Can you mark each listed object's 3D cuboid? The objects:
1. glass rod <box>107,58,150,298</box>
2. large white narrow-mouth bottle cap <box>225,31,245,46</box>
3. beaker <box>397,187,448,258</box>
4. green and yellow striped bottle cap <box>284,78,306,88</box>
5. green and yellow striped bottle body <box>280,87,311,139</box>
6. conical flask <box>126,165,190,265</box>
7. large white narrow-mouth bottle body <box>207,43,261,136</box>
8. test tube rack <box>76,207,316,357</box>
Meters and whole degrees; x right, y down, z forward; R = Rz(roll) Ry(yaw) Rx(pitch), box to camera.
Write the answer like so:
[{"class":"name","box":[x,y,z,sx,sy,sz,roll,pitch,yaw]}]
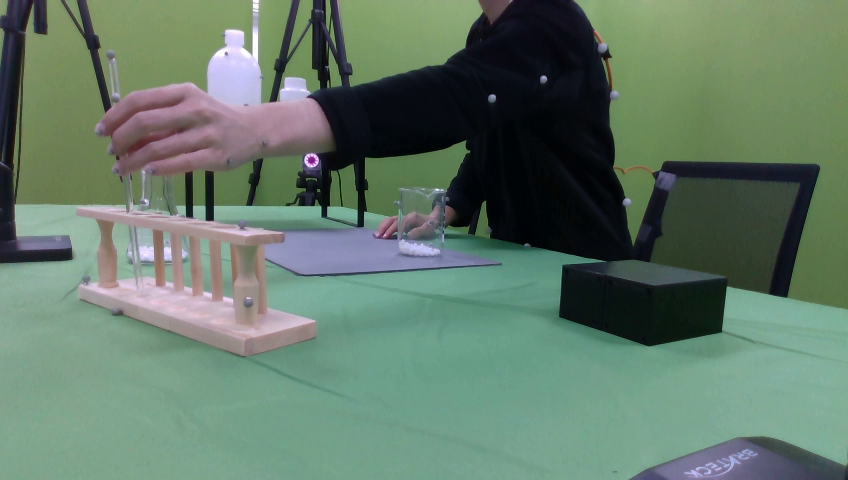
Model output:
[{"class":"glass rod","box":[-0.240,-0.045,0.494,0.008,0.199,0.008,-1,16,1]},{"class":"large white narrow-mouth bottle cap","box":[-0.365,-0.388,1.166,0.038,0.024,0.037,3,9,0]},{"class":"beaker","box":[-0.002,-0.026,0.890,0.074,0.100,0.084,1,8,-11]},{"class":"green and yellow striped bottle cap","box":[-0.268,-0.325,1.259,0.045,0.020,0.045,5,7,0]},{"class":"green and yellow striped bottle body","box":[-0.269,-0.274,1.266,0.063,0.119,0.063,3,7,0]},{"class":"conical flask","box":[-0.332,-0.033,0.756,0.075,0.122,0.075,2,8,0]},{"class":"large white narrow-mouth bottle body","box":[-0.369,-0.303,1.180,0.102,0.194,0.102,3,9,0]},{"class":"test tube rack","box":[-0.196,0.023,0.500,0.241,0.085,0.067,7,9,36]}]
